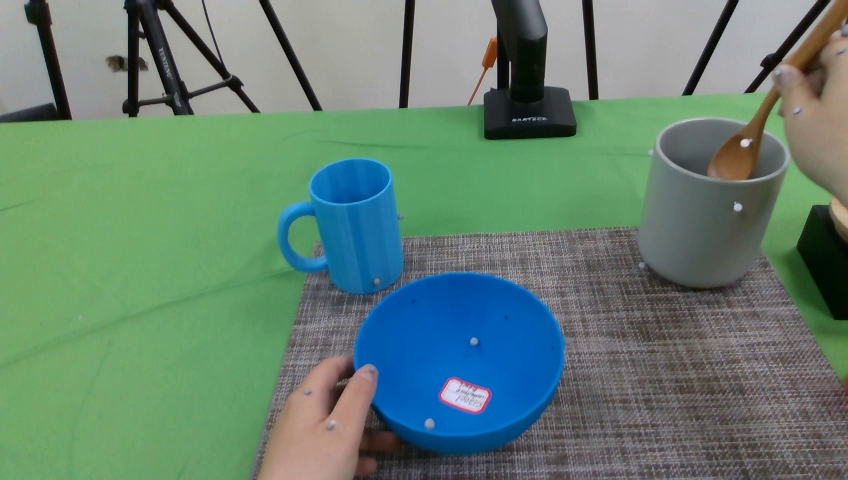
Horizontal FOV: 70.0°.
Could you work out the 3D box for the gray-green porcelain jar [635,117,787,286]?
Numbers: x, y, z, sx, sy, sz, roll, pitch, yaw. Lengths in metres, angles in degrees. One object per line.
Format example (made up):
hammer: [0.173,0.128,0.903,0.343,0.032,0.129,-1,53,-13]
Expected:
gray-green porcelain jar: [0.250,-0.030,0.546,0.106,0.128,0.105,-3,40,3]

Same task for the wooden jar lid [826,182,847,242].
wooden jar lid: [0.407,-0.016,0.522,0.108,0.021,0.107,-4,40,4]

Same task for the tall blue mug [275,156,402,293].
tall blue mug: [-0.076,-0.007,0.570,0.107,0.109,0.077,-33,48,-29]

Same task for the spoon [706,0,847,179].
spoon: [0.254,-0.102,0.443,0.021,0.195,0.041,-8,59,-3]

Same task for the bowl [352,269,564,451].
bowl: [0.026,0.101,0.453,0.151,0.077,0.150,-3,40,3]
